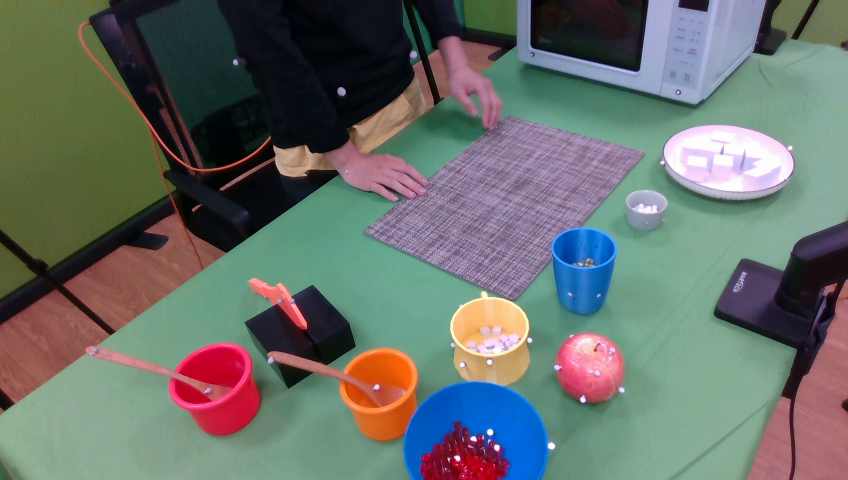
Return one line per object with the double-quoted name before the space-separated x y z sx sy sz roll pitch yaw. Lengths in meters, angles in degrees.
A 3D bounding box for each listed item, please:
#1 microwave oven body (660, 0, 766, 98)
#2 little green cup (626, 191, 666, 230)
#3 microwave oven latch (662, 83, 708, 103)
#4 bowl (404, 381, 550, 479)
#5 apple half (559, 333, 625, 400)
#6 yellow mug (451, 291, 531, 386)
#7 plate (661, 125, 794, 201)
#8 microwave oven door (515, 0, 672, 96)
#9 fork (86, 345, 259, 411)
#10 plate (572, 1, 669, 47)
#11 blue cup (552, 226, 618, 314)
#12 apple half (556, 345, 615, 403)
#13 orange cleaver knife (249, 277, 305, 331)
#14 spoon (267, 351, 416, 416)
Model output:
"microwave oven body" 0.472 -0.513 1.317 0.438 0.261 0.327 26 51 34
"little green cup" 0.352 -0.046 0.963 0.061 0.039 0.061 -4 40 4
"microwave oven latch" 0.518 -0.296 1.204 0.078 0.029 0.030 27 52 35
"bowl" 0.058 0.235 0.645 0.151 0.077 0.150 -4 39 4
"apple half" 0.209 0.147 0.730 0.080 0.075 0.053 26 48 38
"yellow mug" 0.085 0.120 0.786 0.100 0.064 0.130 -7 39 1
"plate" 0.513 -0.128 1.035 0.207 0.039 0.206 -4 40 4
"microwave oven door" 0.343 -0.454 1.259 0.353 0.245 0.039 26 51 33
"fork" -0.298 0.166 0.728 0.209 0.018 0.028 28 46 -23
"plate" 0.441 -0.484 1.366 0.209 0.038 0.208 -5 41 5
"blue cup" 0.218 0.047 0.826 0.092 0.101 0.092 -6 40 5
"apple half" 0.181 0.167 0.709 0.080 0.081 0.033 29 50 35
"orange cleaver knife" -0.210 0.088 0.855 0.012 0.077 0.210 -28 15 -25
"spoon" -0.091 0.162 0.699 0.021 0.195 0.041 -45 30 27
